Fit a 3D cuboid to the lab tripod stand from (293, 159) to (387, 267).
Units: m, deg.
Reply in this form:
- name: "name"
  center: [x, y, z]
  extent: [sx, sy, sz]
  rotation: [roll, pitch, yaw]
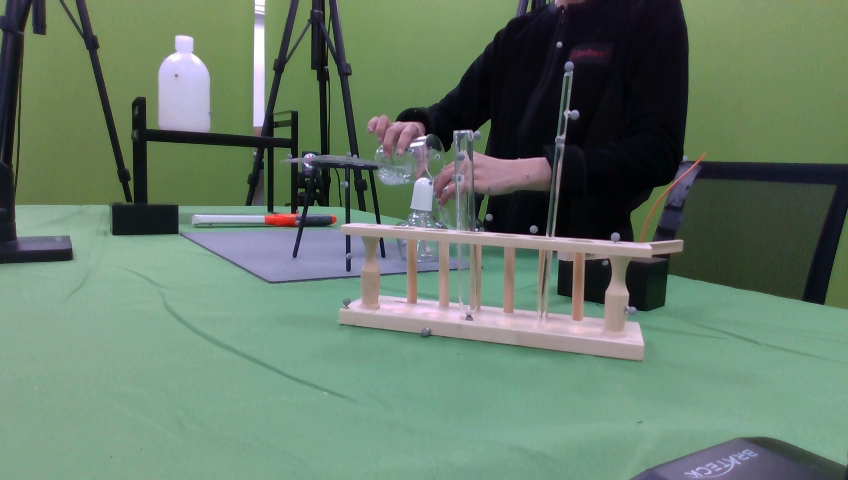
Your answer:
- name: "lab tripod stand"
  center: [-0.104, -0.039, 0.797]
  extent: [0.148, 0.131, 0.148]
  rotation: [2, 5, 0]

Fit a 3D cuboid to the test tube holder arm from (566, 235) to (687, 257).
- name: "test tube holder arm"
  center: [0.215, 0.006, 0.630]
  extent: [0.179, 0.015, 0.013]
  rotation: [-3, 9, -31]

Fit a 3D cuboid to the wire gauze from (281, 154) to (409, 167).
- name: "wire gauze"
  center: [-0.104, -0.104, 0.784]
  extent: [0.126, 0.011, 0.121]
  rotation: [-2, 8, -38]

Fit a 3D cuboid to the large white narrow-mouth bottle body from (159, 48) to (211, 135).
- name: "large white narrow-mouth bottle body"
  center: [-0.503, -0.323, 1.275]
  extent: [0.102, 0.194, 0.102]
  rotation: [2, 7, 0]

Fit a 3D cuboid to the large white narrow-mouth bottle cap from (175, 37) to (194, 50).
- name: "large white narrow-mouth bottle cap"
  center: [-0.501, -0.409, 1.264]
  extent: [0.038, 0.024, 0.037]
  rotation: [2, 7, 0]

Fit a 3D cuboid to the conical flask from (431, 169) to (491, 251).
- name: "conical flask"
  center: [0.048, -0.049, 0.937]
  extent: [0.075, 0.121, 0.075]
  rotation: [-23, -14, -6]

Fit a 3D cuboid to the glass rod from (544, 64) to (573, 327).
- name: "glass rod"
  center: [0.101, -0.028, 0.453]
  extent: [0.008, 0.199, 0.008]
  rotation: [2, 13, 0]

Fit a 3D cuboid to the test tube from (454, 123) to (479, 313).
- name: "test tube"
  center: [0.034, -0.016, 0.477]
  extent: [0.017, 0.150, 0.017]
  rotation: [-2, 9, 1]

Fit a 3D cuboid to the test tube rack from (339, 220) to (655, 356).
- name: "test tube rack"
  center: [0.056, 0.032, 0.495]
  extent: [0.242, 0.085, 0.067]
  rotation: [4, 7, 15]

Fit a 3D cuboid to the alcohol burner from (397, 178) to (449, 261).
- name: "alcohol burner"
  center: [-0.002, -0.031, 0.846]
  extent: [0.078, 0.119, 0.078]
  rotation: [0, 6, 0]

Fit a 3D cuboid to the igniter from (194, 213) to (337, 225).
- name: "igniter"
  center: [-0.306, -0.042, 1.196]
  extent: [0.278, 0.025, 0.057]
  rotation: [-2, -2, -30]

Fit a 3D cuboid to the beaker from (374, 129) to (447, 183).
- name: "beaker"
  center: [-0.023, -0.130, 0.977]
  extent: [0.100, 0.084, 0.074]
  rotation: [-4, 1, 31]

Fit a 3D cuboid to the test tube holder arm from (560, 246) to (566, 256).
- name: "test tube holder arm"
  center: [0.173, 0.007, 0.612]
  extent: [0.088, 0.015, 0.010]
  rotation: [-3, 9, -30]

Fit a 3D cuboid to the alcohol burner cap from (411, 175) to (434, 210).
- name: "alcohol burner cap"
  center: [0.000, -0.067, 0.842]
  extent: [0.034, 0.048, 0.034]
  rotation: [7, 8, -1]
